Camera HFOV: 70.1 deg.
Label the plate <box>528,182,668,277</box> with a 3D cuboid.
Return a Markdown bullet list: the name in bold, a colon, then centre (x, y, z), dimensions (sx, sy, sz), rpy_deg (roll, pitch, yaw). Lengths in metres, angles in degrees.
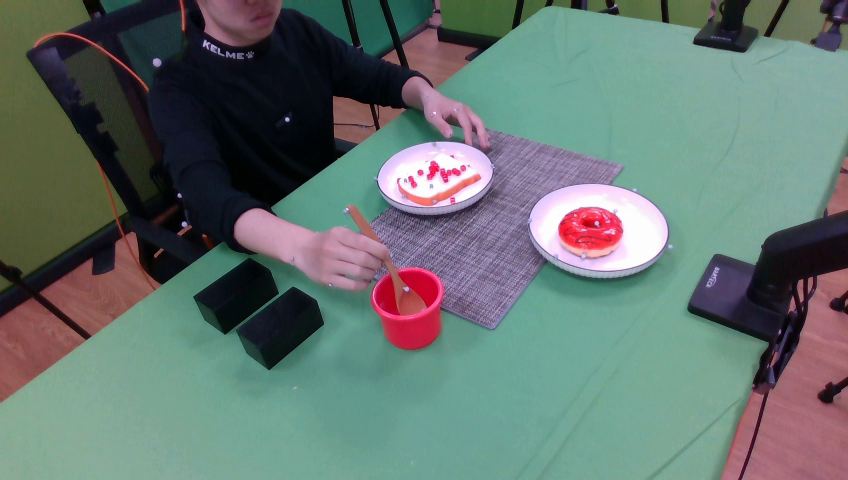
- **plate**: centre (0.264, -0.014, 0.933), dimensions (0.207, 0.039, 0.206), rpy_deg (-3, 42, 3)

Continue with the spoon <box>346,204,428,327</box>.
- **spoon**: centre (-0.046, 0.033, 0.766), dimensions (0.021, 0.195, 0.042), rpy_deg (6, 41, 47)

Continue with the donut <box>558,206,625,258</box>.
- **donut**: centre (0.254, -0.015, 0.917), dimensions (0.099, 0.048, 0.098), rpy_deg (-5, 41, 5)

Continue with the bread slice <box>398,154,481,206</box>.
- **bread slice**: centre (0.021, -0.107, 1.077), dimensions (0.132, 0.019, 0.104), rpy_deg (-32, 46, -28)

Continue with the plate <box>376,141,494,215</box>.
- **plate**: centre (0.021, -0.106, 1.073), dimensions (0.209, 0.038, 0.208), rpy_deg (-4, 40, 4)
